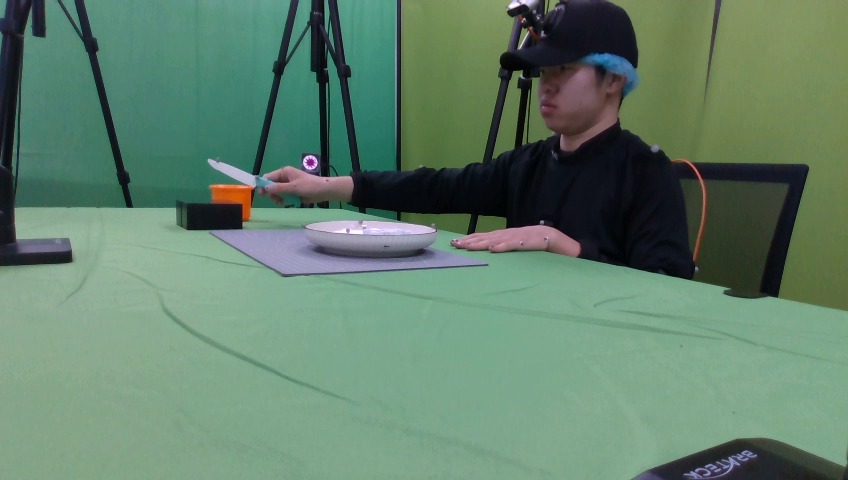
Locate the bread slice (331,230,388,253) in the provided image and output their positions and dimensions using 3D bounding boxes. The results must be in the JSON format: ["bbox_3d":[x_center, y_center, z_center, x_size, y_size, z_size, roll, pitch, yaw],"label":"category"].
[{"bbox_3d":[-0.088,0.000,0.947,0.105,0.019,0.131,-4,11,-44],"label":"bread slice"}]

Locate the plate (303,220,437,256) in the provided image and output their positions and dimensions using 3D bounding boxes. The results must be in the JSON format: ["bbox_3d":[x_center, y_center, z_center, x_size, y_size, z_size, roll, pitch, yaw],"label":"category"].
[{"bbox_3d":[-0.084,-0.003,0.951,0.209,0.038,0.209,3,7,0],"label":"plate"}]

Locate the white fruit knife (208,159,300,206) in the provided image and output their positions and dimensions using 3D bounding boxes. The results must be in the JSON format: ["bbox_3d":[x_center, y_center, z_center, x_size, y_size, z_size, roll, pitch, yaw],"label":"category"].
[{"bbox_3d":[-0.338,-0.118,1.222,0.208,0.027,0.016,25,-9,-37],"label":"white fruit knife"}]
